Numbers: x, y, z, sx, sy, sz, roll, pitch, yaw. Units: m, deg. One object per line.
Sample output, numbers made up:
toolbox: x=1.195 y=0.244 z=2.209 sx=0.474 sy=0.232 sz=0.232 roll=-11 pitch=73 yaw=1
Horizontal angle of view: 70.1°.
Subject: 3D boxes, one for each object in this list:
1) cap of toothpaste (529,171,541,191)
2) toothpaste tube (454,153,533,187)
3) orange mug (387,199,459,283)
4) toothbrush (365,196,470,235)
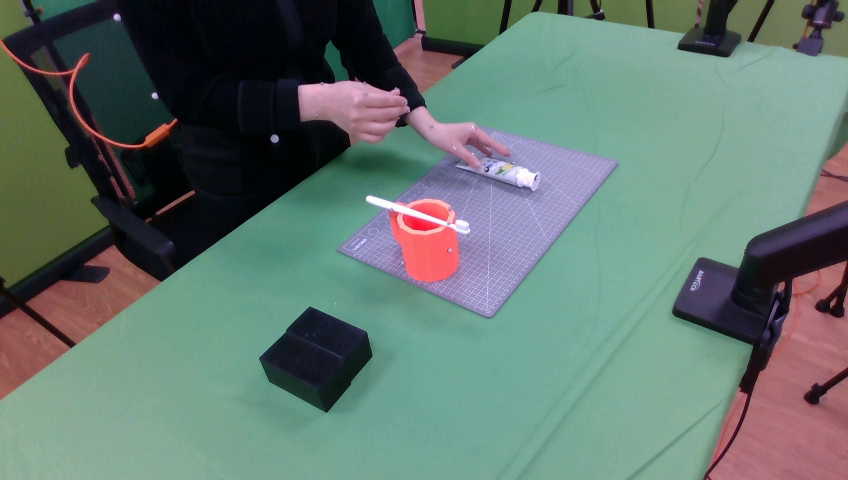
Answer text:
cap of toothpaste: x=0.193 y=-0.103 z=1.054 sx=0.011 sy=0.037 sz=0.037 roll=18 pitch=47 yaw=25
toothpaste tube: x=0.134 y=-0.130 z=1.104 sx=0.163 sy=0.034 sz=0.055 roll=24 pitch=43 yaw=37
orange mug: x=-0.006 y=-0.007 z=0.923 sx=0.125 sy=0.101 sz=0.084 roll=32 pitch=54 yaw=32
toothbrush: x=-0.013 y=-0.039 z=0.880 sx=0.180 sy=0.017 sz=0.014 roll=18 pitch=49 yaw=27
